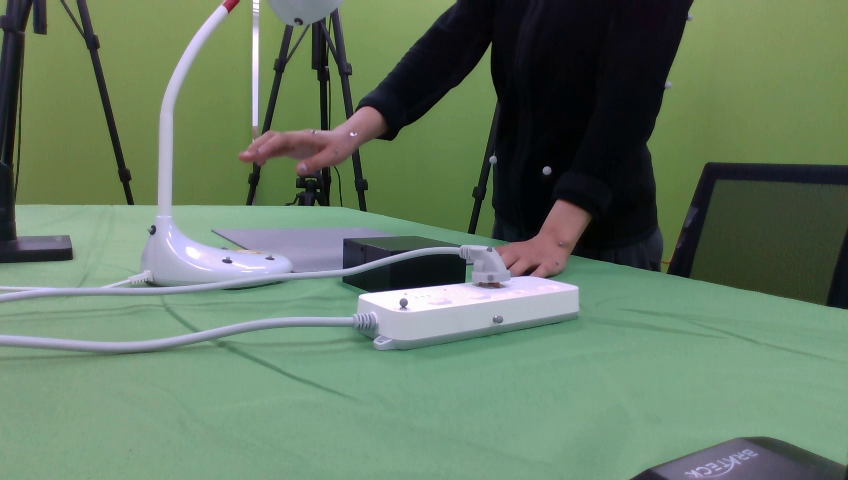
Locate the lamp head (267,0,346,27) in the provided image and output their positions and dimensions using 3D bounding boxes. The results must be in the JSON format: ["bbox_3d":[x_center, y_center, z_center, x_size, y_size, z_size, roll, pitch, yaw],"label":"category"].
[{"bbox_3d":[-0.157,-0.326,0.701,0.112,0.112,0.123,6,-16,26],"label":"lamp head"}]

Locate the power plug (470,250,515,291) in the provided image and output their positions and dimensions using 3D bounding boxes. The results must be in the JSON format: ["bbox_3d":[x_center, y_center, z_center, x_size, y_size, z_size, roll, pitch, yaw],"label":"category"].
[{"bbox_3d":[0.053,0.037,0.529,0.035,0.052,0.073,-12,3,36],"label":"power plug"}]

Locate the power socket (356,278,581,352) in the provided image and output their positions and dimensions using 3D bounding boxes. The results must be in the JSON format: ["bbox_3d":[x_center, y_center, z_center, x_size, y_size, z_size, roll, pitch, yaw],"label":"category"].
[{"bbox_3d":[0.045,0.059,0.523,0.228,0.032,0.072,-3,8,-36],"label":"power socket"}]

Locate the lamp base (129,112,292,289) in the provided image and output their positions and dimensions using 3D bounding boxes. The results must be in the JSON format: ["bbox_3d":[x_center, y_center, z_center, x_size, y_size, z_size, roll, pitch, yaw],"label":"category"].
[{"bbox_3d":[-0.233,-0.045,0.658,0.160,0.180,0.180,7,11,29],"label":"lamp base"}]
